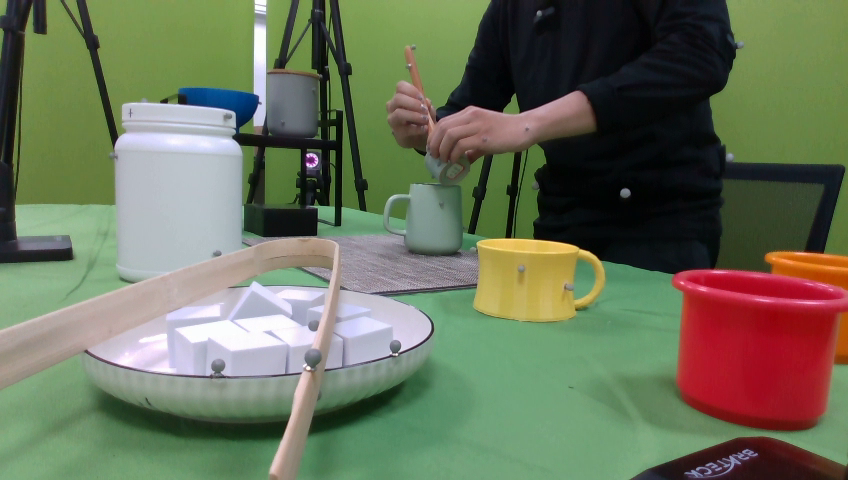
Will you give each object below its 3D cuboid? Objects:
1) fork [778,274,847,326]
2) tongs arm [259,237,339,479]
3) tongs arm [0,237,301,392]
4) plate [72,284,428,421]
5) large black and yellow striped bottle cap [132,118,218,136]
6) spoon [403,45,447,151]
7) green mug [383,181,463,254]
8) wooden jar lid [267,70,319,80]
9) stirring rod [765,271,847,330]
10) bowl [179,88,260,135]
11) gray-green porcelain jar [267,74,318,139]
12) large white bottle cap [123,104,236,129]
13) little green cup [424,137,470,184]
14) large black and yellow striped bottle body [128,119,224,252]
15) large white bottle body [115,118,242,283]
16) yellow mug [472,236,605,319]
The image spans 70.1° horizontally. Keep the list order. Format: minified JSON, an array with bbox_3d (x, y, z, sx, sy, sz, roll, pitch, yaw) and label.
[{"bbox_3d":[0.332,0.018,0.443,0.028,0.018,0.207,-3,-35,-16],"label":"fork"},{"bbox_3d":[-0.074,0.040,0.345,0.051,0.026,0.384,-1,9,-3],"label":"tongs arm"},{"bbox_3d":[-0.158,0.038,0.346,0.028,0.028,0.388,-3,8,11],"label":"tongs arm"},{"bbox_3d":[-0.102,0.067,0.381,0.208,0.039,0.207,3,7,0],"label":"plate"},{"bbox_3d":[-0.359,-0.164,0.875,0.115,0.019,0.115,2,6,0],"label":"large black and yellow striped bottle cap"},{"bbox_3d":[0.001,-0.190,0.878,0.041,0.193,0.021,-19,-5,-3],"label":"spoon"},{"bbox_3d":[-0.001,-0.036,0.921,0.126,0.105,0.092,0,8,-16],"label":"green mug"},{"bbox_3d":[-0.275,-0.339,1.271,0.108,0.020,0.108,5,6,0],"label":"wooden jar lid"},{"bbox_3d":[0.352,0.020,0.481,0.176,0.006,0.014,-40,-8,17],"label":"stirring rod"},{"bbox_3d":[-0.400,-0.248,1.188,0.151,0.077,0.151,2,6,0],"label":"bowl"},{"bbox_3d":[-0.277,-0.279,1.280,0.106,0.126,0.106,2,7,0],"label":"gray-green porcelain jar"},{"bbox_3d":[-0.266,-0.134,0.663,0.115,0.018,0.115,3,7,0],"label":"large white bottle cap"},{"bbox_3d":[0.035,-0.112,0.868,0.062,0.061,0.038,-4,48,-38],"label":"little green cup"},{"bbox_3d":[-0.361,-0.081,0.887,0.131,0.184,0.130,2,8,0],"label":"large black and yellow striped bottle body"},{"bbox_3d":[-0.270,-0.051,0.674,0.131,0.184,0.130,2,8,0],"label":"large white bottle body"},{"bbox_3d":[0.114,0.034,0.590,0.131,0.064,0.100,3,6,-7],"label":"yellow mug"}]
